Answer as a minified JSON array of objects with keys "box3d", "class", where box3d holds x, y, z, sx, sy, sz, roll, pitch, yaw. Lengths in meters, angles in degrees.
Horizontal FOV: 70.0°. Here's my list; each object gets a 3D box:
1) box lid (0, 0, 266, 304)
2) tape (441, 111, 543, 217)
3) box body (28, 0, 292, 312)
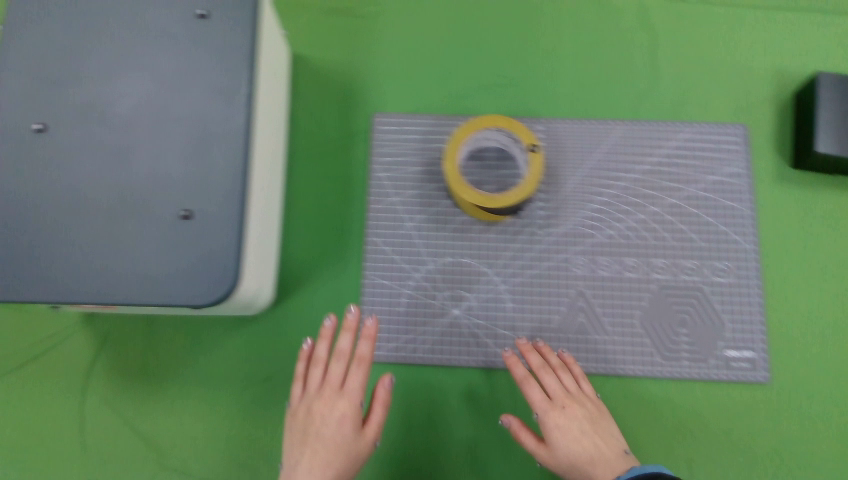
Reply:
[{"box3d":[-0.291,-0.125,0.582,0.263,0.015,0.369,1,78,2],"class":"box lid"},{"box3d":[0.078,-0.085,0.692,0.117,0.053,0.116,0,77,2],"class":"tape"},{"box3d":[-0.289,-0.105,0.653,0.254,0.161,0.362,1,77,2],"class":"box body"}]
